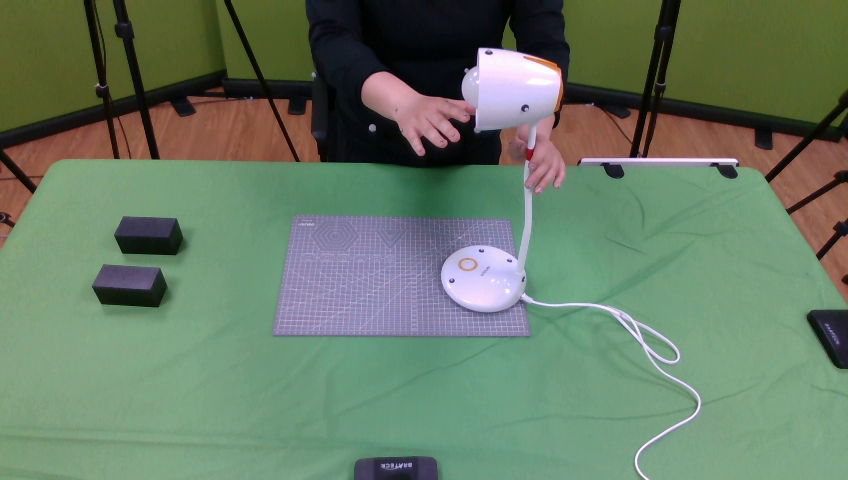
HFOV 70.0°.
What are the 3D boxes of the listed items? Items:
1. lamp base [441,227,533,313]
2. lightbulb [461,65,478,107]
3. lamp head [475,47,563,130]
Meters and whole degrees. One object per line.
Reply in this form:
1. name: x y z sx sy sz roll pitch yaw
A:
1. lamp base: 0.126 0.021 1.072 0.179 0.181 0.160 22 49 13
2. lightbulb: 0.105 -0.214 0.849 0.108 0.060 0.059 4 45 -2
3. lamp head: 0.129 -0.206 0.840 0.123 0.113 0.112 5 45 -1
